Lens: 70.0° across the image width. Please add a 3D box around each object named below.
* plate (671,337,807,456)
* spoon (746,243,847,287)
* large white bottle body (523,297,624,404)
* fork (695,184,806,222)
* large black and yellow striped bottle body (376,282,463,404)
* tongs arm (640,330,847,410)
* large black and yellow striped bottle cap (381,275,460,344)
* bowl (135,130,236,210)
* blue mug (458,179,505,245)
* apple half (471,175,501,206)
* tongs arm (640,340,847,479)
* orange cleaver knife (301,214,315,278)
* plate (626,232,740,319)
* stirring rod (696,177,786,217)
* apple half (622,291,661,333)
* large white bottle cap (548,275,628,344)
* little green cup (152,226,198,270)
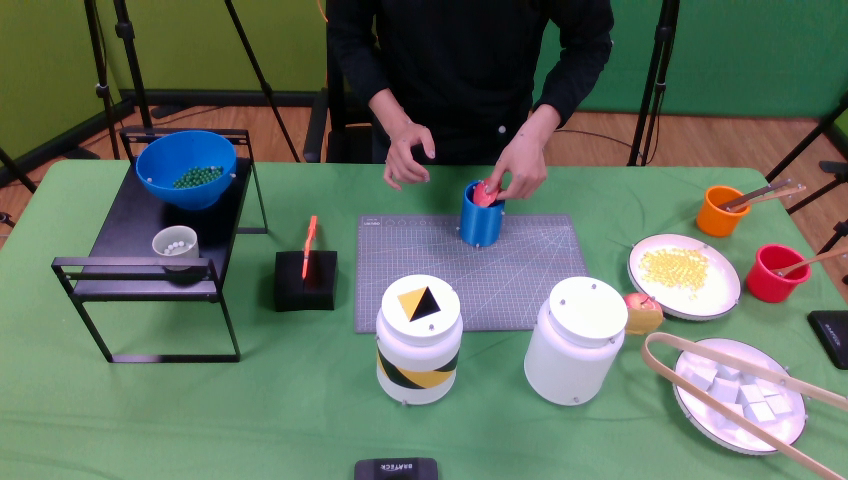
[{"bbox_3d":[0.504,0.254,0.984,0.208,0.039,0.206,2,46,-2],"label":"plate"},{"bbox_3d":[0.702,0.043,1.126,0.194,0.022,0.041,-29,38,30],"label":"spoon"},{"bbox_3d":[0.235,0.159,0.952,0.131,0.185,0.130,2,47,-2],"label":"large white bottle body"},{"bbox_3d":[0.658,-0.074,1.230,0.207,0.019,0.028,-24,33,36],"label":"fork"},{"bbox_3d":[-0.010,0.155,0.937,0.131,0.185,0.130,2,47,-2],"label":"large black and yellow striped bottle body"},{"bbox_3d":[0.543,0.225,0.969,0.384,0.026,0.050,22,52,13],"label":"tongs arm"},{"bbox_3d":[-0.005,0.098,0.875,0.115,0.019,0.114,2,45,-2],"label":"large black and yellow striped bottle cap"},{"bbox_3d":[-0.375,-0.102,0.978,0.151,0.077,0.150,2,46,-2],"label":"bowl"},{"bbox_3d":[0.107,-0.065,1.205,0.082,0.106,0.115,-11,48,-15],"label":"blue mug"},{"bbox_3d":[0.111,-0.093,1.156,0.033,0.081,0.081,35,47,-12],"label":"apple half"},{"bbox_3d":[0.500,0.277,0.919,0.386,0.028,0.028,34,59,22],"label":"tongs arm"},{"bbox_3d":[-0.218,0.007,1.131,0.012,0.077,0.210,7,19,-9],"label":"orange cleaver knife"},{"bbox_3d":[0.489,0.071,1.157,0.209,0.038,0.208,3,46,-3],"label":"plate"},{"bbox_3d":[0.648,-0.087,1.244,0.176,0.006,0.014,-25,50,29],"label":"stirring rod"},{"bbox_3d":[0.372,0.123,1.074,0.081,0.075,0.053,0,42,1],"label":"apple half"},{"bbox_3d":[0.240,0.100,0.890,0.115,0.018,0.114,3,47,-3],"label":"large white bottle cap"},{"bbox_3d":[-0.364,0.013,0.894,0.061,0.039,0.061,3,47,-3],"label":"little green cup"}]
